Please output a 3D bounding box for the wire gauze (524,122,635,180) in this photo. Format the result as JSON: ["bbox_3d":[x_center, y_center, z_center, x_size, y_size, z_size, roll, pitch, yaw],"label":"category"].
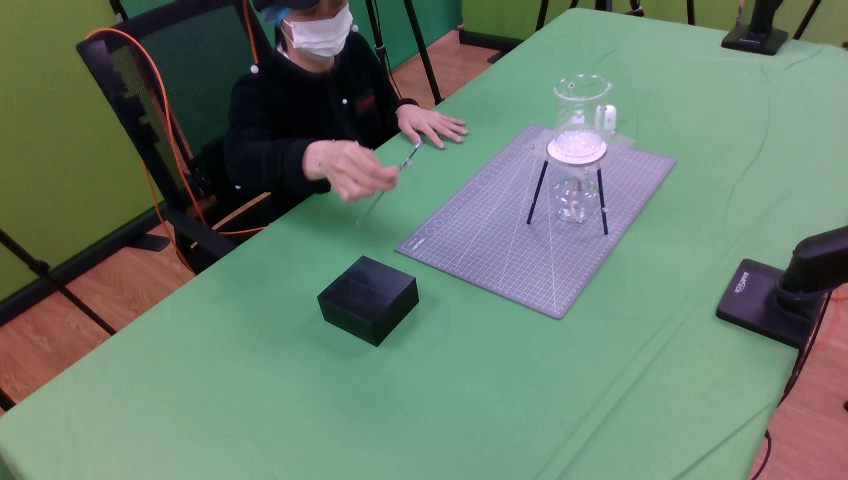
[{"bbox_3d":[0.233,-0.142,0.913,0.122,0.011,0.124,-31,42,-26],"label":"wire gauze"}]

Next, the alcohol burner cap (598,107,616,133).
[{"bbox_3d":[0.361,-0.239,1.189,0.034,0.048,0.033,-4,40,4],"label":"alcohol burner cap"}]

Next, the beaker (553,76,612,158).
[{"bbox_3d":[0.230,-0.178,0.882,0.084,0.101,0.073,-9,41,1],"label":"beaker"}]

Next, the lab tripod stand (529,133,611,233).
[{"bbox_3d":[0.236,-0.089,0.953,0.148,0.132,0.147,-5,41,5],"label":"lab tripod stand"}]

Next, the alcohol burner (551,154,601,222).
[{"bbox_3d":[0.244,-0.088,0.966,0.078,0.119,0.077,-3,40,3],"label":"alcohol burner"}]

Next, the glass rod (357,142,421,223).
[{"bbox_3d":[-0.050,-0.071,0.804,0.008,0.199,0.008,15,56,-23],"label":"glass rod"}]
